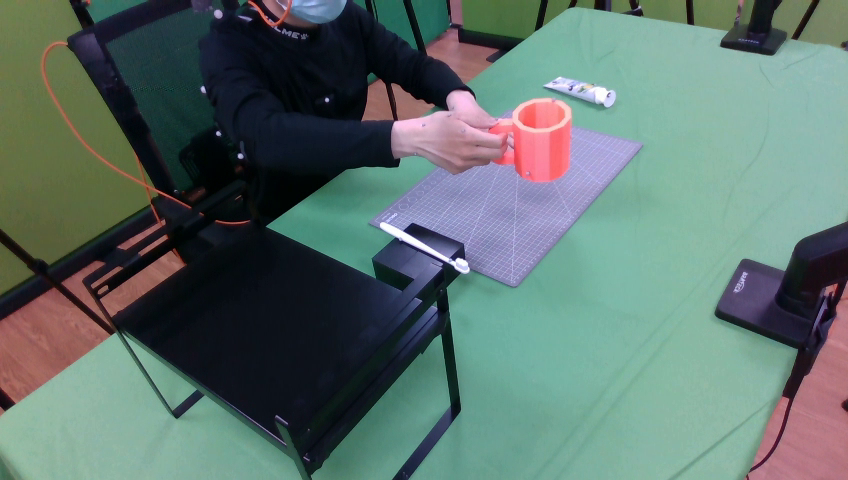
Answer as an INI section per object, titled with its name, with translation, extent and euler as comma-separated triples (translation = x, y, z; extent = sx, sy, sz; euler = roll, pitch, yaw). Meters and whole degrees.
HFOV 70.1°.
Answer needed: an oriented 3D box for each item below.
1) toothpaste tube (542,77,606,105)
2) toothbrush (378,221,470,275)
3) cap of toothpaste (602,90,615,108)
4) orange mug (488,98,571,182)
[toothpaste tube]
translation = 0.333, -0.324, 1.300
extent = 0.055, 0.034, 0.163
euler = -27, 40, -28
[toothbrush]
translation = -0.004, 0.008, 0.894
extent = 0.180, 0.017, 0.014
euler = 27, 54, 35
[cap of toothpaste]
translation = 0.378, -0.291, 1.245
extent = 0.037, 0.037, 0.011
euler = -31, 42, -25
[orange mug]
translation = 0.161, -0.152, 0.924
extent = 0.126, 0.101, 0.083
euler = 1, 47, 6
